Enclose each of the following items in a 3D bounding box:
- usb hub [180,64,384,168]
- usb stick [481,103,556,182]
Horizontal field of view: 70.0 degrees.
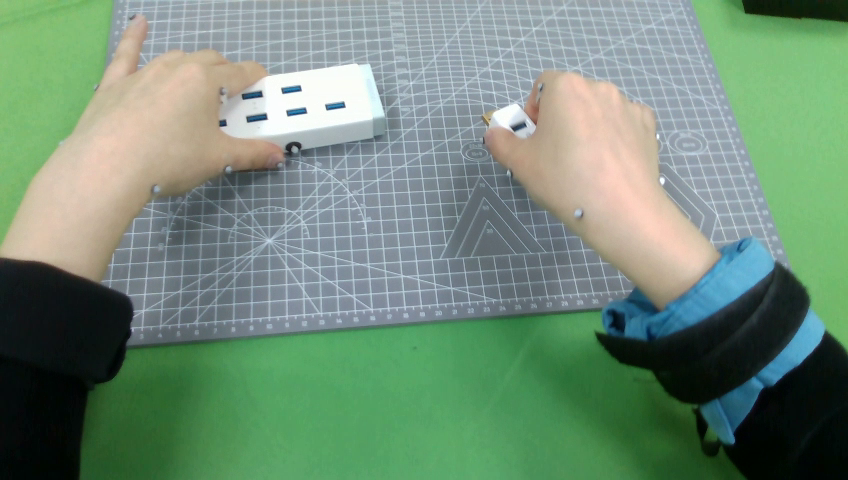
[{"bbox_3d":[-0.093,-0.085,0.402,0.125,0.025,0.049,-12,67,-12],"label":"usb hub"},{"bbox_3d":[0.059,-0.068,0.394,0.021,0.027,0.058,-28,62,-17],"label":"usb stick"}]
